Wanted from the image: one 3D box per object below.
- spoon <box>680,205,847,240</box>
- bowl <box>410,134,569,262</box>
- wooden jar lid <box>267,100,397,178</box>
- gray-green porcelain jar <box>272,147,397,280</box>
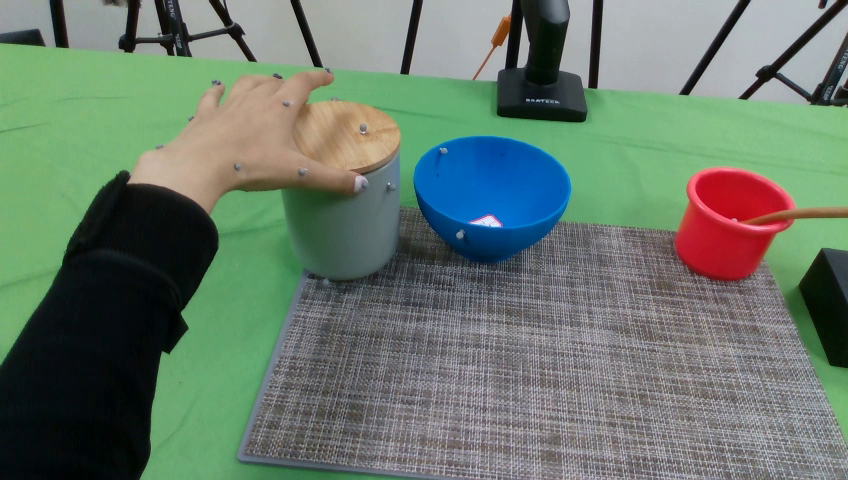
[{"bbox_3d":[0.317,-0.019,0.549,0.041,0.193,0.021,-26,95,-26],"label":"spoon"},{"bbox_3d":[0.060,-0.031,0.596,0.151,0.077,0.150,2,42,-1],"label":"bowl"},{"bbox_3d":[-0.077,-0.084,0.512,0.108,0.021,0.107,3,42,-2],"label":"wooden jar lid"},{"bbox_3d":[-0.078,-0.035,0.555,0.106,0.127,0.105,2,42,-1],"label":"gray-green porcelain jar"}]
